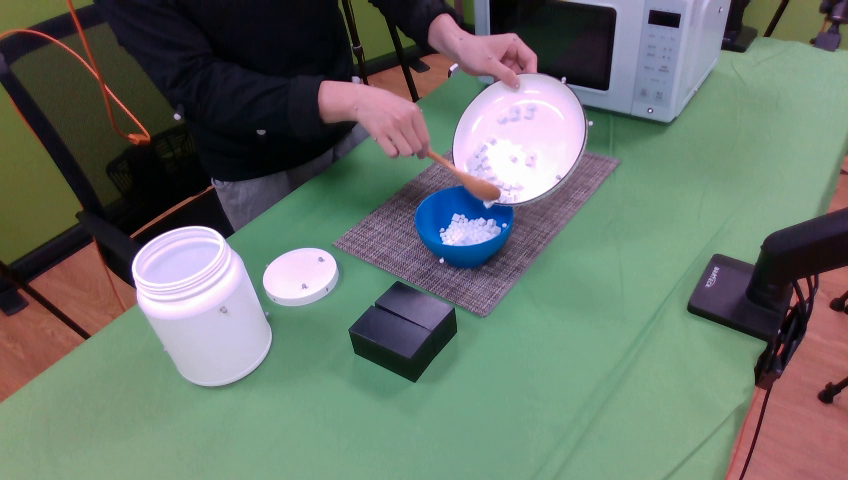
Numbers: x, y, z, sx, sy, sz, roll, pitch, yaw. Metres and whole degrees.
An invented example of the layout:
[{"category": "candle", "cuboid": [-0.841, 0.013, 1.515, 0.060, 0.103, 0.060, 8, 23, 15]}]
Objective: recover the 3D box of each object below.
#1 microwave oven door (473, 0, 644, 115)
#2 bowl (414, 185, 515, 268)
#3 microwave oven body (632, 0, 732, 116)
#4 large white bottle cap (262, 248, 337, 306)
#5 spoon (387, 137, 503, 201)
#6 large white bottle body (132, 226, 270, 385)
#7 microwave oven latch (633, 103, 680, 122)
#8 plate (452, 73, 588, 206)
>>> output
[{"category": "microwave oven door", "cuboid": [0.257, -0.396, 1.199, 0.353, 0.245, 0.039, 21, 48, 29]}, {"category": "bowl", "cuboid": [0.063, -0.010, 0.922, 0.151, 0.077, 0.150, -4, 40, 4]}, {"category": "microwave oven body", "cuboid": [0.377, -0.463, 1.267, 0.438, 0.261, 0.327, 21, 49, 30]}, {"category": "large white bottle cap", "cuboid": [-0.193, 0.056, 0.934, 0.115, 0.018, 0.114, -4, 41, 4]}, {"category": "spoon", "cuboid": [0.028, -0.106, 0.884, 0.193, 0.042, 0.021, 32, 69, 17]}, {"category": "large white bottle body", "cuboid": [-0.286, 0.085, 0.784, 0.130, 0.185, 0.130, -4, 41, 4]}, {"category": "microwave oven latch", "cuboid": [0.444, -0.249, 1.157, 0.078, 0.029, 0.030, 21, 49, 30]}, {"category": "plate", "cuboid": [0.143, -0.147, 0.906, 0.208, 0.038, 0.208, -7, 74, 25]}]
